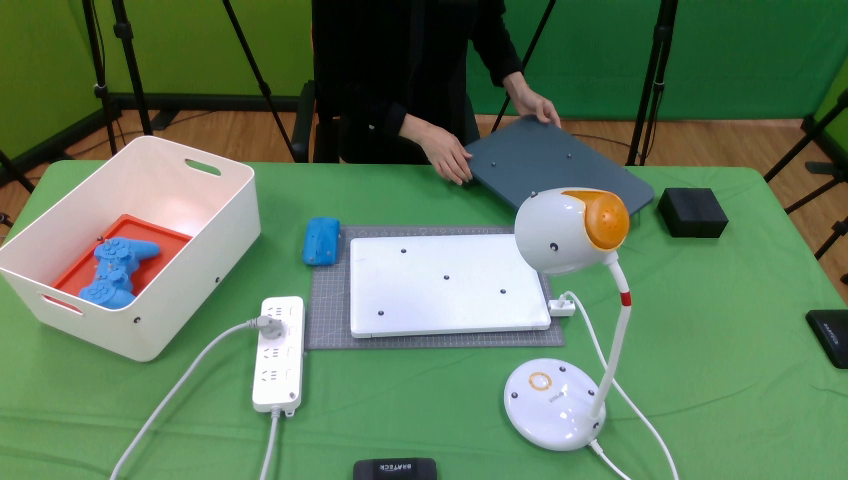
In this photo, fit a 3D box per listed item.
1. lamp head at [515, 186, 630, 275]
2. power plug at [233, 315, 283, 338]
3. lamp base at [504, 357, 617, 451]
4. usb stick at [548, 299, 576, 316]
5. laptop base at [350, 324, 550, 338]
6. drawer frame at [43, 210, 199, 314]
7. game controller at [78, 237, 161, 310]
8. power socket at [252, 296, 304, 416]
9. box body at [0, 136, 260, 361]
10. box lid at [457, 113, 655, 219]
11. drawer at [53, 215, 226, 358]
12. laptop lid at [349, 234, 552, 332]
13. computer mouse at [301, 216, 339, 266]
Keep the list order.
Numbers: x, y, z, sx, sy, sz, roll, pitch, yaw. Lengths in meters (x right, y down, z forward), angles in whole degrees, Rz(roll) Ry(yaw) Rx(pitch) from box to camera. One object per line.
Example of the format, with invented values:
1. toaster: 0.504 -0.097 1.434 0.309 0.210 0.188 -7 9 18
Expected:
1. lamp head: 0.188 -0.013 0.728 0.112 0.112 0.122 -25 9 -25
2. power plug: -0.270 0.143 1.000 0.072 0.053 0.035 5 47 2
3. lamp base: 0.220 0.211 0.903 0.160 0.181 0.178 -33 59 -30
4. usb stick: 0.239 0.121 1.084 0.059 0.027 0.021 -1 51 -1
5. laptop base: 0.039 0.081 1.124 0.355 0.023 0.234 -2 43 -6
6. drawer frame: -0.488 0.067 1.042 0.201 0.083 0.212 15 53 13
7. game controller: -0.496 0.055 0.986 0.097 0.052 0.154 -4 47 -3
8. power socket: -0.238 0.182 0.997 0.072 0.033 0.225 -3 47 -5
9. box body: -0.483 0.006 1.056 0.254 0.161 0.362 17 47 12
10. box lid: 0.277 -0.136 1.297 0.263 0.015 0.369 -32 56 -25
11. drawer: -0.490 0.077 1.059 0.194 0.073 0.211 17 58 10
12. laptop lid: 0.040 0.071 1.117 0.357 0.013 0.240 0 44 -5
13. computer mouse: -0.200 -0.002 1.169 0.063 0.041 0.116 3 50 -3
